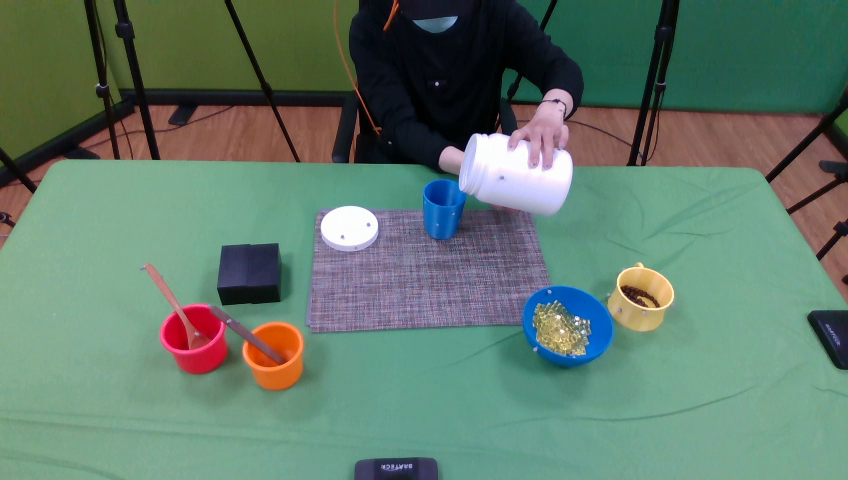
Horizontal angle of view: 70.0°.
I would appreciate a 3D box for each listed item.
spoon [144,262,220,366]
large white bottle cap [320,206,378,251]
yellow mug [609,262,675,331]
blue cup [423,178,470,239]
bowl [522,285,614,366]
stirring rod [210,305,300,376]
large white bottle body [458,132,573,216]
[{"bbox_3d":[-0.389,0.118,0.970,0.041,0.021,0.194,-34,101,-34],"label":"spoon"},{"bbox_3d":[-0.150,-0.024,1.207,0.115,0.018,0.114,2,46,-2],"label":"large white bottle cap"},{"bbox_3d":[0.393,0.094,1.103,0.100,0.064,0.130,7,45,4],"label":"yellow mug"},{"bbox_3d":[0.036,-0.056,1.192,0.093,0.101,0.092,3,45,-3],"label":"blue cup"},{"bbox_3d":[0.235,0.158,1.022,0.151,0.077,0.150,2,46,-2],"label":"bowl"},{"bbox_3d":[-0.262,0.158,0.946,0.177,0.006,0.014,44,43,-21],"label":"stirring rod"},{"bbox_3d":[0.166,-0.125,1.123,0.185,0.131,0.130,12,45,-9],"label":"large white bottle body"}]
